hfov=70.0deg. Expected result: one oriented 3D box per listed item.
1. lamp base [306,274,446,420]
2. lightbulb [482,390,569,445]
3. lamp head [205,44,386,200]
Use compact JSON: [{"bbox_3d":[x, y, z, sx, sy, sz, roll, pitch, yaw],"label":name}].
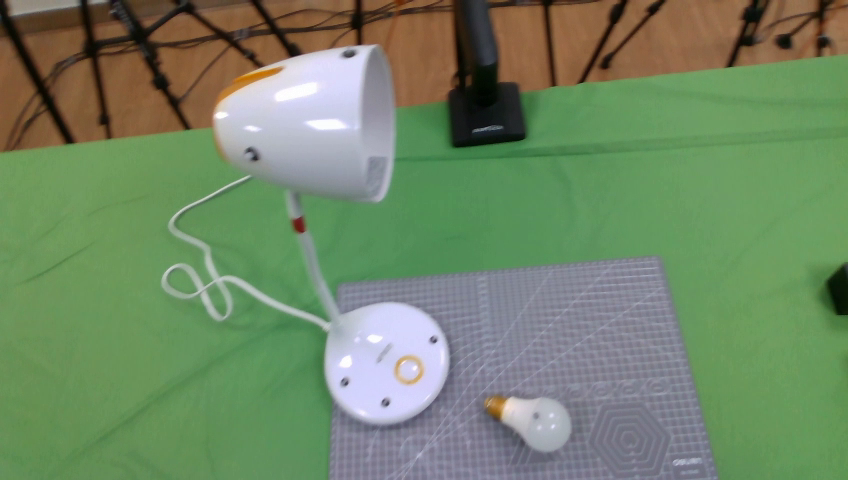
[{"bbox_3d":[-0.071,0.109,0.716,0.178,0.182,0.160,17,63,18],"label":"lamp base"},{"bbox_3d":[0.118,0.204,0.719,0.107,0.060,0.059,12,61,31],"label":"lightbulb"},{"bbox_3d":[-0.093,-0.081,0.450,0.122,0.113,0.111,-3,60,12],"label":"lamp head"}]
